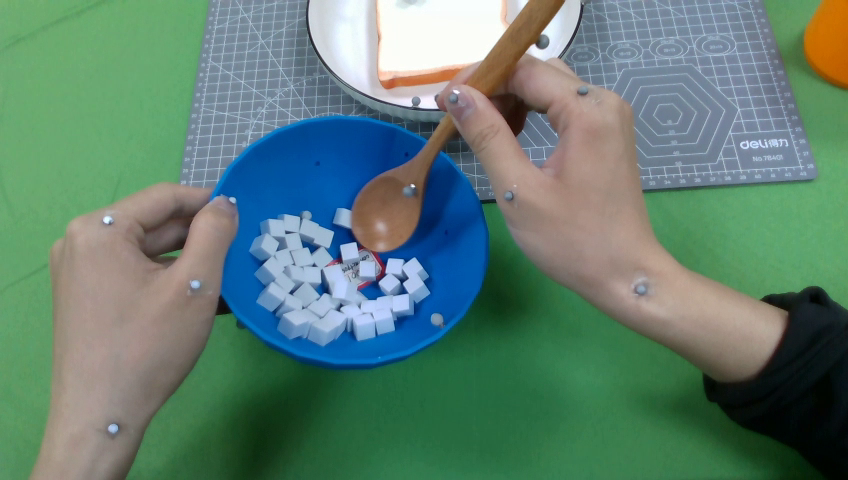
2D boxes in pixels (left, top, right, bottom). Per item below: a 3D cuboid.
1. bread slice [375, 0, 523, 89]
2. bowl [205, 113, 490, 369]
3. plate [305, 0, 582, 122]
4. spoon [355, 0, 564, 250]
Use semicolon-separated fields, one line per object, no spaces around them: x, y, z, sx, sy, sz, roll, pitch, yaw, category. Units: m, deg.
0.011;-0.179;0.475;0.107;0.018;0.133;-10;67;2;bread slice
-0.044;0.010;0.354;0.152;0.077;0.150;5;62;-9;bowl
0.014;-0.175;0.470;0.209;0.038;0.207;-2;66;5;plate
0.012;-0.054;0.310;0.041;0.194;0.021;48;48;6;spoon
